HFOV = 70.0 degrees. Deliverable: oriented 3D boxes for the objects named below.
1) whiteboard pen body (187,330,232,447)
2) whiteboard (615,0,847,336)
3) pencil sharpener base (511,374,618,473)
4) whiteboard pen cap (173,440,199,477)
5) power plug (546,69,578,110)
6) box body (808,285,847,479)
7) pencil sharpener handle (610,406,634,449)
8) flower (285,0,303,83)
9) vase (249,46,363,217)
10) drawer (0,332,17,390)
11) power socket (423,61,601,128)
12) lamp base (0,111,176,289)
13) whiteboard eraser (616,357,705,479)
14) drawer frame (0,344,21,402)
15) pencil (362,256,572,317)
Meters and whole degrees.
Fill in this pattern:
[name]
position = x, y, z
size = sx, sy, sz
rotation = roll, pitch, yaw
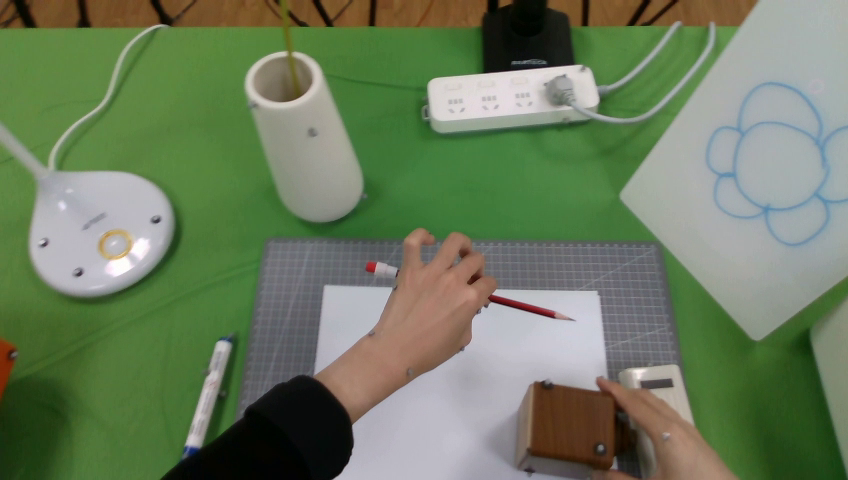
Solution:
[whiteboard pen body]
position = -0.216, 0.156, 0.604
size = 0.017, 0.017, 0.139
rotation = 4, 59, 4
[whiteboard]
position = 0.376, -0.088, 0.591
size = 0.144, 0.307, 0.215
rotation = -20, 62, -30
[pencil sharpener base]
position = 0.123, 0.167, 0.541
size = 0.076, 0.108, 0.061
rotation = 7, 63, 5
[whiteboard pen cap]
position = -0.225, 0.206, 0.575
size = 0.018, 0.018, 0.033
rotation = 5, 58, 4
[power plug]
position = 0.165, -0.174, 0.732
size = 0.035, 0.053, 0.072
rotation = 4, 65, 4
[box body]
position = 0.506, 0.193, 0.490
size = 0.254, 0.161, 0.361
rotation = 0, 63, 2
[pencil sharpener handle]
position = 0.174, 0.165, 0.527
size = 0.030, 0.068, 0.036
rotation = 7, 72, 5
[flower]
position = -0.119, -0.161, 0.573
size = 0.038, 0.365, 0.043
rotation = -10, 45, -11
[vase]
position = -0.123, -0.107, 0.638
size = 0.098, 0.201, 0.097
rotation = -1, 62, 3
[drawer]
position = -0.505, 0.164, 0.526
size = 0.212, 0.074, 0.193
rotation = 3, 64, 3
[power socket]
position = 0.112, -0.184, 0.765
size = 0.227, 0.033, 0.071
rotation = -5, 64, -1
[lamp base]
position = -0.379, -0.059, 0.630
size = 0.178, 0.182, 0.160
rotation = 31, 67, 19
[whiteboard eraser]
position = 0.222, 0.170, 0.574
size = 0.055, 0.042, 0.111
rotation = -4, 63, -2
[drawer frame]
position = -0.511, 0.166, 0.528
size = 0.213, 0.083, 0.200
rotation = 4, 64, 1
[pencil]
position = 0.039, 0.043, 0.543
size = 0.194, 0.012, 0.012
rotation = 15, 64, 1
